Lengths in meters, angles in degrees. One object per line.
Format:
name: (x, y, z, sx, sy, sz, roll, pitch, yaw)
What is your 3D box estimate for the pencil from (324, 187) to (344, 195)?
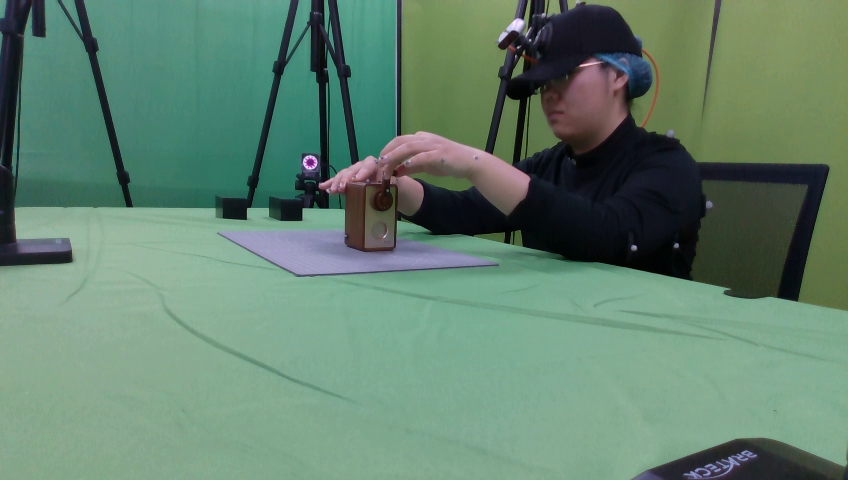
pencil: (-0.126, -0.078, 1.021, 0.012, 0.012, 0.193, -2, 10, -33)

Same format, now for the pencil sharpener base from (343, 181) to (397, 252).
pencil sharpener base: (-0.085, -0.038, 0.957, 0.062, 0.107, 0.076, -2, 9, -33)

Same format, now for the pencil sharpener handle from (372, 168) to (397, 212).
pencil sharpener handle: (-0.055, -0.074, 0.909, 0.036, 0.067, 0.030, -1, 8, -34)
